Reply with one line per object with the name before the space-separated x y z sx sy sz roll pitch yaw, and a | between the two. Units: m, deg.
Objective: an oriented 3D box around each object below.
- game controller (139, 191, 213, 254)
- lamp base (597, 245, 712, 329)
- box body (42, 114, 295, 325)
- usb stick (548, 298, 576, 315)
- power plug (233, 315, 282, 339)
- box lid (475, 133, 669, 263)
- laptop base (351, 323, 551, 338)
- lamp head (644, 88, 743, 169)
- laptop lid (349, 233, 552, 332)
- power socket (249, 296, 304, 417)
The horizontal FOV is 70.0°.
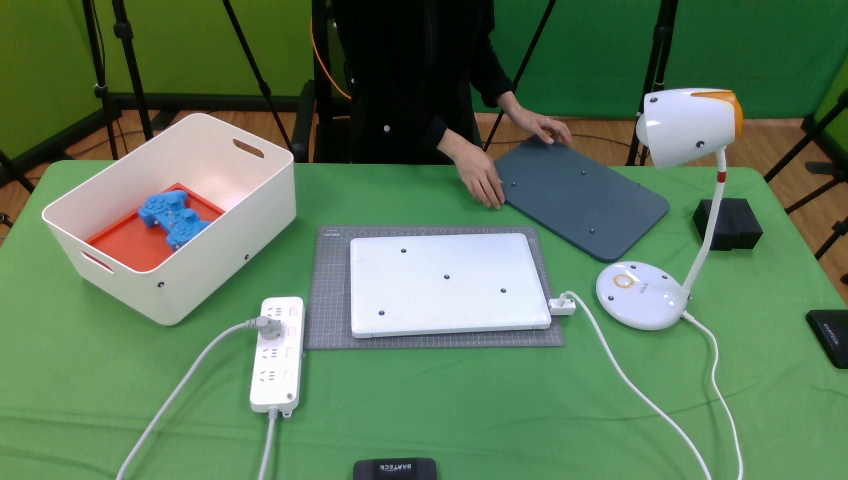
game controller | -0.436 -0.039 1.081 0.154 0.052 0.097 36 58 27
lamp base | 0.418 0.051 1.071 0.179 0.181 0.160 22 49 13
box body | -0.437 -0.046 1.110 0.253 0.161 0.363 24 49 19
usb stick | 0.240 0.119 1.086 0.059 0.027 0.021 -2 51 -2
power plug | -0.271 0.144 1.000 0.072 0.053 0.035 6 47 3
box lid | 0.323 -0.105 1.334 0.369 0.015 0.263 36 54 27
laptop base | 0.040 0.080 1.125 0.355 0.023 0.234 -2 43 -6
lamp head | 0.380 -0.161 0.851 0.122 0.113 0.112 -4 42 25
laptop lid | 0.040 0.071 1.118 0.357 0.013 0.240 -1 44 -5
power socket | -0.239 0.182 0.996 0.072 0.033 0.225 -2 47 -5
